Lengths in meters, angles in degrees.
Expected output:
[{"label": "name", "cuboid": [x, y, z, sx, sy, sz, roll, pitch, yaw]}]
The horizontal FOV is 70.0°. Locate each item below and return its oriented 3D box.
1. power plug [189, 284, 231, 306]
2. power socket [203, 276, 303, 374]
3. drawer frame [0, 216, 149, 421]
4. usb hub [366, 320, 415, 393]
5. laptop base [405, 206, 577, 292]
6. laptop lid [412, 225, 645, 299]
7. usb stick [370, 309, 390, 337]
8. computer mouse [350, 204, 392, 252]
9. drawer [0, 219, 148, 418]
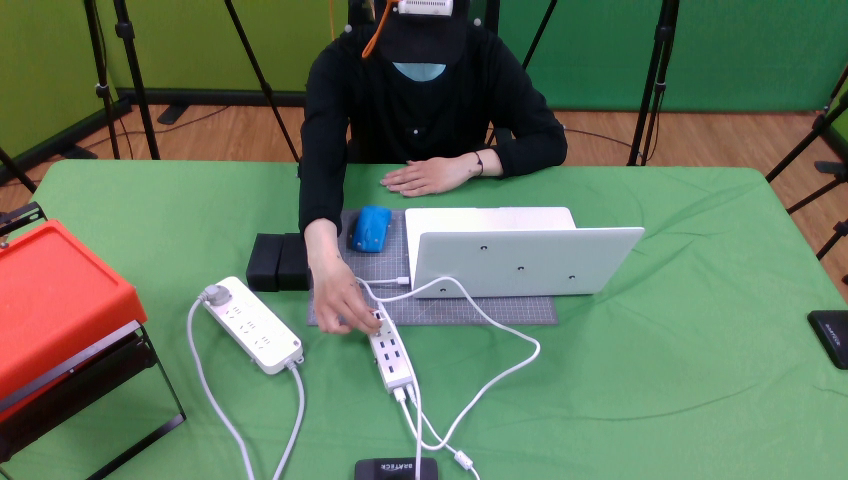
[{"label": "power plug", "cuboid": [-0.367, 0.100, 1.037, 0.072, 0.053, 0.035, -24, 53, -27]}, {"label": "power socket", "cuboid": [-0.296, 0.141, 1.034, 0.072, 0.033, 0.225, -35, 58, -30]}, {"label": "drawer frame", "cuboid": [-0.510, 0.093, 0.780, 0.201, 0.083, 0.213, 31, 52, 23]}, {"label": "usb hub", "cuboid": [-0.056, 0.192, 1.008, 0.049, 0.025, 0.124, -11, 48, -16]}, {"label": "laptop base", "cuboid": [0.143, 0.018, 1.196, 0.355, 0.023, 0.234, -1, 43, -6]}, {"label": "laptop lid", "cuboid": [0.161, 0.042, 1.012, 0.357, 0.242, 0.013, 0, 59, -7]}, {"label": "usb stick", "cuboid": [-0.073, 0.140, 1.001, 0.027, 0.059, 0.021, -16, 53, -13]}, {"label": "computer mouse", "cuboid": [-0.104, -0.027, 1.202, 0.063, 0.041, 0.116, 11, 51, 3]}, {"label": "drawer", "cuboid": [-0.509, 0.093, 0.783, 0.193, 0.073, 0.211, 32, 53, 24]}]
